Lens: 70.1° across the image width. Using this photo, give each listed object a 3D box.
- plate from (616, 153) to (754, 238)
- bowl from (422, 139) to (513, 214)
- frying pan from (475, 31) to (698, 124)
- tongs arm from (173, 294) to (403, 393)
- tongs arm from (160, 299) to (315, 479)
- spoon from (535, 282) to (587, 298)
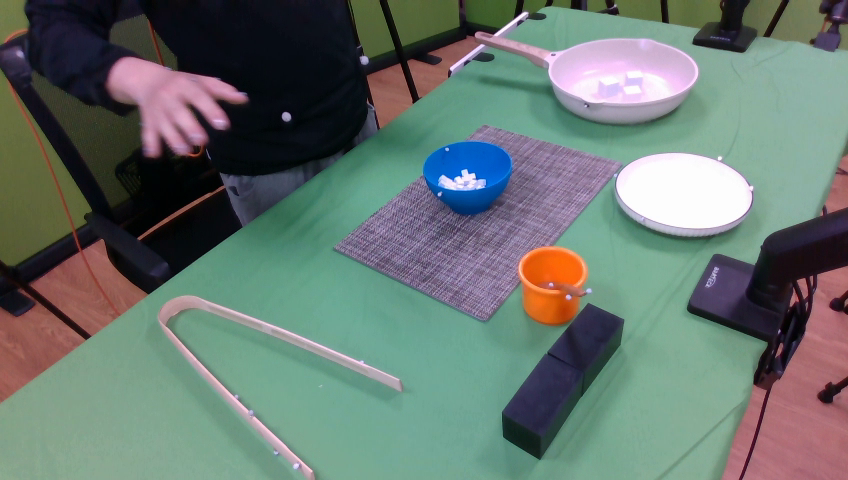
[{"bbox_3d":[0.416,-0.069,0.977,0.207,0.039,0.206,-4,40,4],"label":"plate"},{"bbox_3d":[0.075,-0.097,1.021,0.151,0.077,0.150,-4,41,4],"label":"bowl"},{"bbox_3d":[0.320,-0.371,1.290,0.485,0.103,0.307,28,50,23],"label":"frying pan"},{"bbox_3d":[-0.197,0.137,0.833,0.385,0.028,0.028,16,48,24],"label":"tongs arm"},{"bbox_3d":[-0.248,0.179,0.784,0.381,0.026,0.051,27,49,34],"label":"tongs arm"},{"bbox_3d":[0.176,0.063,0.774,0.041,0.194,0.021,-3,85,1],"label":"spoon"}]
